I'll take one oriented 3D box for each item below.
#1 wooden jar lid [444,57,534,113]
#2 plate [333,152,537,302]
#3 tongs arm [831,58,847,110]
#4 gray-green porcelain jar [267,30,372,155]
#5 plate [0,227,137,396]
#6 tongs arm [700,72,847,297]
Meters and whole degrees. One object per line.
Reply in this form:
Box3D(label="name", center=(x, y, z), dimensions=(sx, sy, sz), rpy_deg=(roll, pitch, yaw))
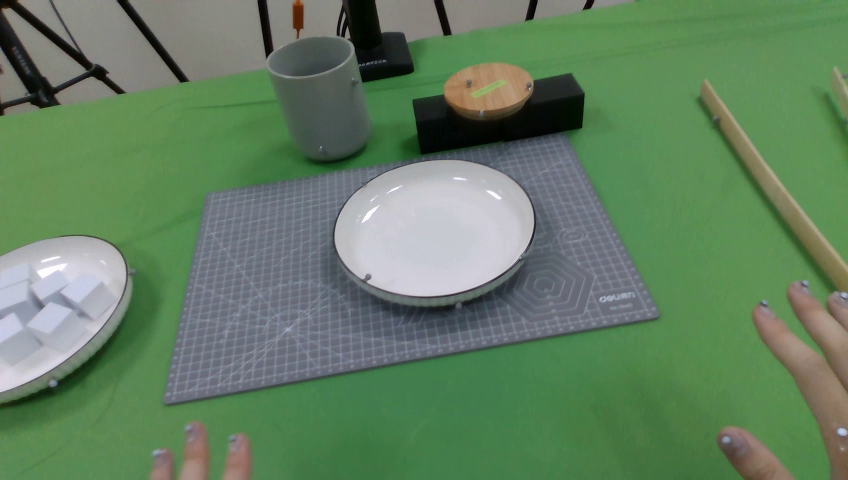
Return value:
Box3D(label="wooden jar lid", center=(0.078, -0.187, 0.732), dimensions=(0.108, 0.021, 0.107), rpy_deg=(-4, 46, 5))
Box3D(label="plate", center=(0.011, -0.014, 0.626), dimensions=(0.209, 0.038, 0.207), rpy_deg=(-5, 45, 5))
Box3D(label="tongs arm", center=(0.449, -0.076, 0.619), dimensions=(0.050, 0.027, 0.381), rpy_deg=(1, 47, 12))
Box3D(label="gray-green porcelain jar", center=(-0.124, -0.178, 0.753), dimensions=(0.106, 0.128, 0.105), rpy_deg=(-5, 45, 5))
Box3D(label="plate", center=(-0.391, 0.071, 0.611), dimensions=(0.207, 0.039, 0.205), rpy_deg=(-5, 45, 5))
Box3D(label="tongs arm", center=(0.368, -0.070, 0.633), dimensions=(0.028, 0.028, 0.383), rpy_deg=(-6, 45, 1))
